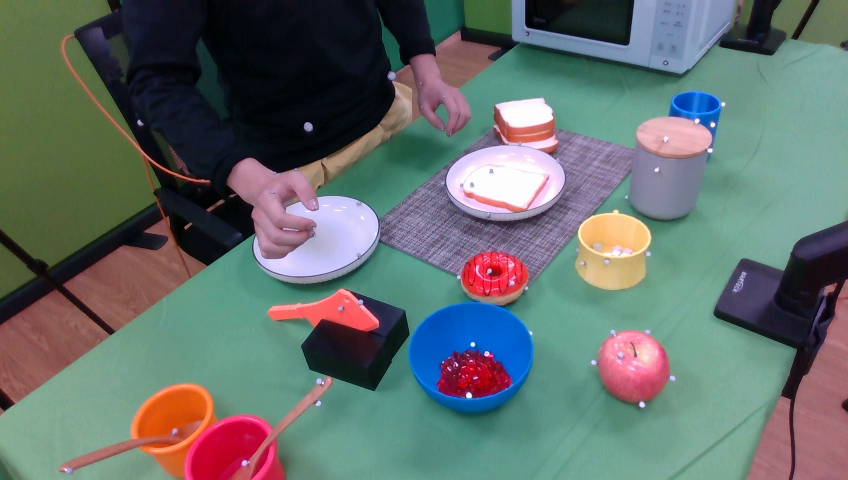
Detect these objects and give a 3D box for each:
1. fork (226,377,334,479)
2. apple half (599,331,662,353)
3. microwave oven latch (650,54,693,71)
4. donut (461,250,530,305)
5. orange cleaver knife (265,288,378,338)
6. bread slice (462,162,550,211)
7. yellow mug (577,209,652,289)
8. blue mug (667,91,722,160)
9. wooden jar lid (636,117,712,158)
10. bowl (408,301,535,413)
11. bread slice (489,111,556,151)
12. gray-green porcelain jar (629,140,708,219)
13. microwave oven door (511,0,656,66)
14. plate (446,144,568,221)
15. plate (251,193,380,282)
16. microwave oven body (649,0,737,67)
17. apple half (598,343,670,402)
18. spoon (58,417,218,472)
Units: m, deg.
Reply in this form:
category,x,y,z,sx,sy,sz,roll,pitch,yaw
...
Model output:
category,x,y,z,sx,sy,sz,roll,pitch,yaw
fork,-0.163,0.216,0.647,0.207,0.019,0.028,-49,42,16
apple half,0.249,0.134,0.738,0.081,0.081,0.032,-2,46,7
microwave oven latch,0.531,-0.386,1.301,0.078,0.029,0.030,26,51,33
donut,0.103,0.053,0.872,0.099,0.048,0.098,-5,40,4
orange cleaver knife,-0.143,0.105,0.823,0.210,0.077,0.012,-12,30,43
bread slice,0.135,-0.094,1.045,0.133,0.018,0.107,15,45,23
yellow mug,0.279,0.004,0.893,0.099,0.064,0.130,5,41,15
blue mug,0.474,-0.207,1.079,0.082,0.106,0.116,4,42,13
wooden jar lid,0.377,-0.151,0.917,0.108,0.021,0.108,-2,42,3
bowl,0.059,0.156,0.739,0.151,0.077,0.150,-4,40,4
bread slice,0.192,-0.204,1.165,0.105,0.019,0.130,-12,40,-6
gray-green porcelain jar,0.383,-0.105,0.958,0.106,0.127,0.105,-4,41,4
microwave oven door,0.351,-0.540,1.349,0.353,0.245,0.039,24,50,31
plate,0.142,-0.096,1.045,0.207,0.039,0.206,-4,40,4
plate,-0.173,-0.001,0.985,0.209,0.038,0.208,-4,41,4
microwave oven body,0.475,-0.602,1.411,0.438,0.261,0.327,23,50,32
apple half,0.247,0.161,0.710,0.081,0.075,0.053,2,47,5
spoon,-0.304,0.221,0.661,0.041,0.195,0.021,19,92,27
